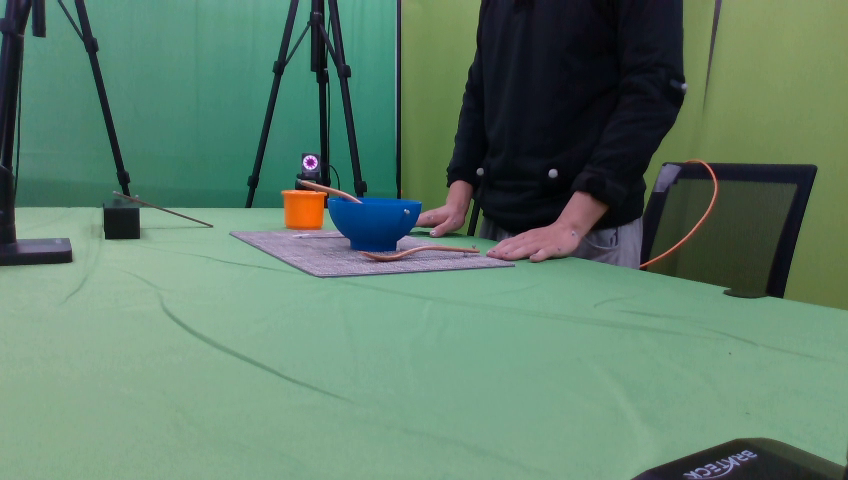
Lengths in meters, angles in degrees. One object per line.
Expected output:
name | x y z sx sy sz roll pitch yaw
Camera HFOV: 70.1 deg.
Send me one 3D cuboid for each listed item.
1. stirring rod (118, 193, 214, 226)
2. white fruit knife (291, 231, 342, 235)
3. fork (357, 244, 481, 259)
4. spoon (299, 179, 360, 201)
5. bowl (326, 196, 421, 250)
stirring rod | -0.484 -0.056 1.142 0.177 0.006 0.014 21 -6 -28
white fruit knife | -0.139 -0.015 1.092 0.208 0.016 0.027 -3 -2 -29
fork | -0.001 0.016 0.877 0.208 0.018 0.028 -4 0 -33
spoon | -0.124 -0.068 0.993 0.193 0.021 0.042 25 9 17
bowl | -0.080 -0.027 0.957 0.151 0.077 0.151 2 7 0
